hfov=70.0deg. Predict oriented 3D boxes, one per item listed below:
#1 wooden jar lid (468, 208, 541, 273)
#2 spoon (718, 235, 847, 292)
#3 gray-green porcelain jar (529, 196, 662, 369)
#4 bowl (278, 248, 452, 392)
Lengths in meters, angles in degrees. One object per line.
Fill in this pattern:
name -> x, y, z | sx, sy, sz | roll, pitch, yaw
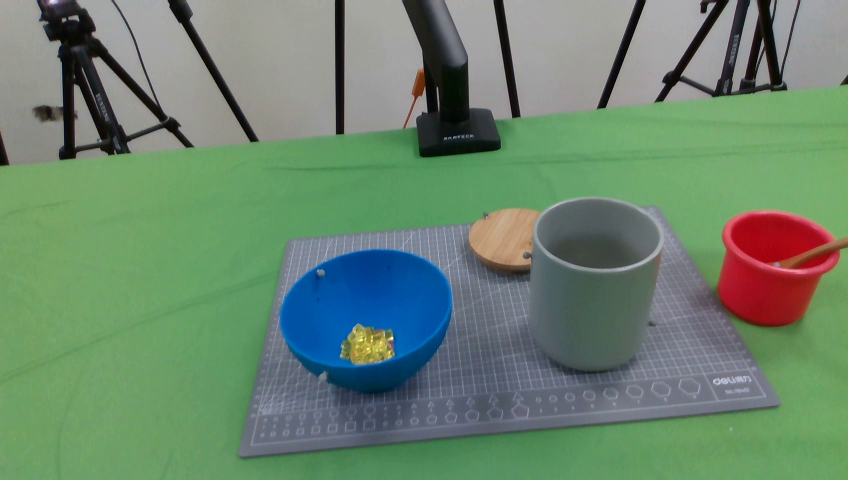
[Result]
wooden jar lid -> 0.104, 0.001, 0.683 | 0.108, 0.021, 0.107 | -4, 36, 3
spoon -> 0.357, 0.011, 0.540 | 0.022, 0.193, 0.041 | 50, 48, -6
gray-green porcelain jar -> 0.146, 0.042, 0.534 | 0.106, 0.127, 0.105 | -4, 37, 3
bowl -> -0.048, 0.082, 0.545 | 0.151, 0.077, 0.150 | -3, 37, 3
